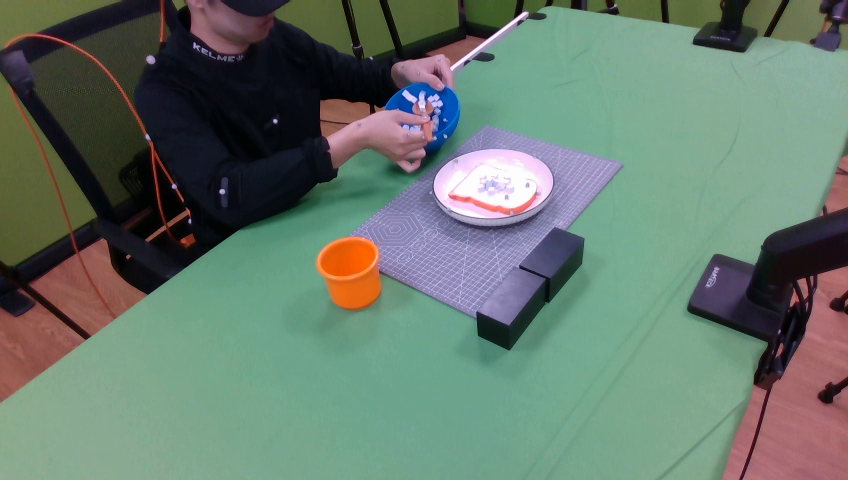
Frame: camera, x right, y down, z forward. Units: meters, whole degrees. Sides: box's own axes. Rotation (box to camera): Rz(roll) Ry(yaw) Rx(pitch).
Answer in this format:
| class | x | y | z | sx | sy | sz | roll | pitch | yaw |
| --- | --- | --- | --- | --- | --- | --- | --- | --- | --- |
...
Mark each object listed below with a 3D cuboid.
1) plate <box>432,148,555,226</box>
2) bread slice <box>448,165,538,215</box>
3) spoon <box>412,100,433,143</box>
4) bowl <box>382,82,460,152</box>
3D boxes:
| class | x | y | z | sx | sy | sz | roll | pitch | yaw |
| --- | --- | --- | --- | --- | --- | --- | --- | --- | --- |
| plate | 0.119 | -0.087 | 1.037 | 0.209 | 0.038 | 0.208 | -4 | 40 | 4 |
| bread slice | 0.126 | -0.085 | 1.038 | 0.133 | 0.018 | 0.107 | 16 | 45 | 27 |
| spoon | 0.001 | -0.218 | 1.099 | 0.041 | 0.022 | 0.193 | -5 | 28 | 0 |
| bowl | 0.001 | -0.224 | 1.167 | 0.151 | 0.077 | 0.150 | -6 | 57 | 10 |
